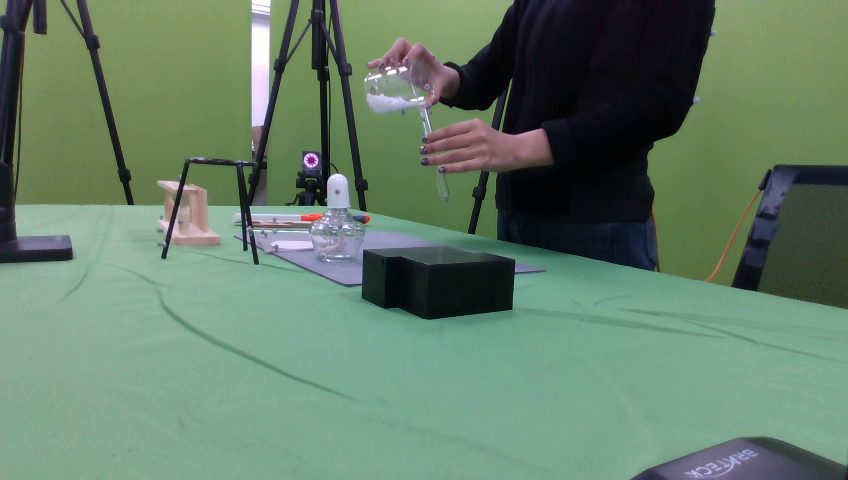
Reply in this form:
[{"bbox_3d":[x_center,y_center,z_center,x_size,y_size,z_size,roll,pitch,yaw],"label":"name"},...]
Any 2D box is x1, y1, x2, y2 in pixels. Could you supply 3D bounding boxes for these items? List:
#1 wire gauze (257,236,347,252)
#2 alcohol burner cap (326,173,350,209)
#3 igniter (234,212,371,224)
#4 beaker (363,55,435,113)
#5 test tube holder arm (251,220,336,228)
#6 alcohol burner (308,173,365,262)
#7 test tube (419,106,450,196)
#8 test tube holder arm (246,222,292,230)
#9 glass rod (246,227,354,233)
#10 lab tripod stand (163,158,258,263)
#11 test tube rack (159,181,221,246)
[{"bbox_3d":[-0.189,0.005,0.931,0.122,0.011,0.124,1,7,-21],"label":"wire gauze"},{"bbox_3d":[-0.117,-0.065,0.808,0.034,0.048,0.034,-3,10,1],"label":"alcohol burner cap"},{"bbox_3d":[-0.245,-0.045,1.248,0.278,0.025,0.057,-1,-2,-25],"label":"igniter"},{"bbox_3d":[-0.043,-0.248,0.989,0.100,0.084,0.074,-5,-6,32],"label":"beaker"},{"bbox_3d":[-0.254,-0.030,1.156,0.179,0.015,0.013,-1,43,-30],"label":"test tube holder arm"},{"bbox_3d":[-0.117,-0.030,0.813,0.078,0.119,0.078,4,9,0],"label":"alcohol burner"},{"bbox_3d":[0.016,-0.139,0.945,0.017,0.150,0.017,-14,-11,-2],"label":"test tube"},{"bbox_3d":[-0.291,-0.026,1.130,0.088,0.015,0.010,-1,43,-30],"label":"test tube holder arm"},{"bbox_3d":[-0.224,-0.017,1.109,0.201,0.008,0.008,1,7,-27],"label":"glass rod"},{"bbox_3d":[-0.265,-0.041,0.802,0.148,0.131,0.148,4,7,0],"label":"lab tripod stand"},{"bbox_3d":[-0.395,-0.050,1.010,0.067,0.085,0.241,-2,8,-28],"label":"test tube rack"}]
